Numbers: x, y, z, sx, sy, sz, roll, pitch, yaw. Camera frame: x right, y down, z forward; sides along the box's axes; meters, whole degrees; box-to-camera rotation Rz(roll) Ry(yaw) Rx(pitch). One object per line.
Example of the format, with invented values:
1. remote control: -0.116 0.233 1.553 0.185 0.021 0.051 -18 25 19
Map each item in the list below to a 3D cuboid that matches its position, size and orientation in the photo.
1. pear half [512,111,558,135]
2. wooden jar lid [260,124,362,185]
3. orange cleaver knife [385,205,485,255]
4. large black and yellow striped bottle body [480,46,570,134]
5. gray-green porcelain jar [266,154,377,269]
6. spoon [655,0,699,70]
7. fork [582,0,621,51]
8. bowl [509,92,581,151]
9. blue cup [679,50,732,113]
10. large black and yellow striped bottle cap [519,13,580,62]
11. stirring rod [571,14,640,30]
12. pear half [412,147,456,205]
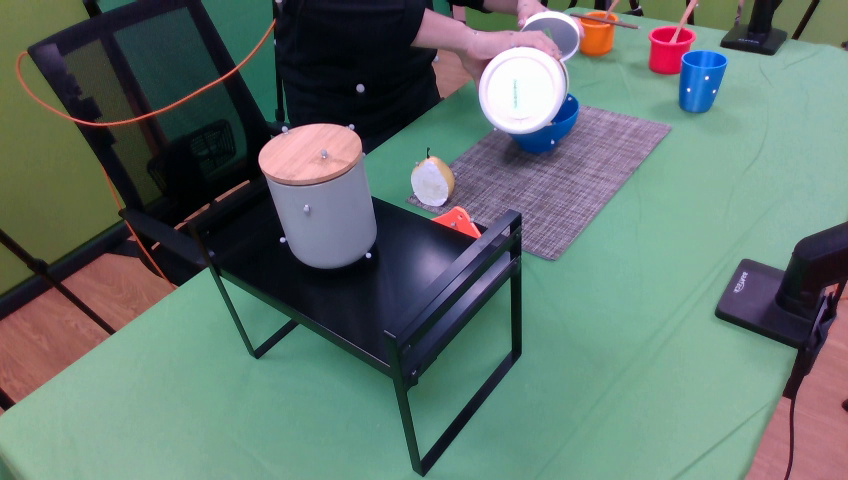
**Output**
1. pear half: 0.212 -0.228 1.153 0.088 0.031 0.070 7 47 12
2. wooden jar lid: -0.119 -0.088 0.645 0.108 0.021 0.108 -4 40 4
3. orange cleaver knife: 0.012 -0.010 0.942 0.012 0.077 0.210 -36 19 -35
4. large black and yellow striped bottle body: 0.173 -0.254 1.005 0.130 0.131 0.184 6 20 15
5. gray-green porcelain jar: -0.112 -0.039 0.685 0.106 0.127 0.105 -4 40 4
6. spoon: 0.567 -0.463 1.337 0.041 0.022 0.193 30 97 38
7. fork: 0.446 -0.539 1.438 0.207 0.019 0.028 -57 36 12
8. bowl: 0.221 -0.224 1.155 0.151 0.077 0.150 -4 40 4
9. blue cup: 0.545 -0.309 1.193 0.092 0.100 0.092 -4 39 3
10. large black and yellow striped bottle cap: 0.240 -0.384 1.159 0.114 0.115 0.018 4 61 14
11. stirring rod: 0.419 -0.508 1.404 0.174 0.006 0.014 28 55 35
12. pear half: 0.019 -0.120 1.042 0.076 0.110 0.056 11 44 16
